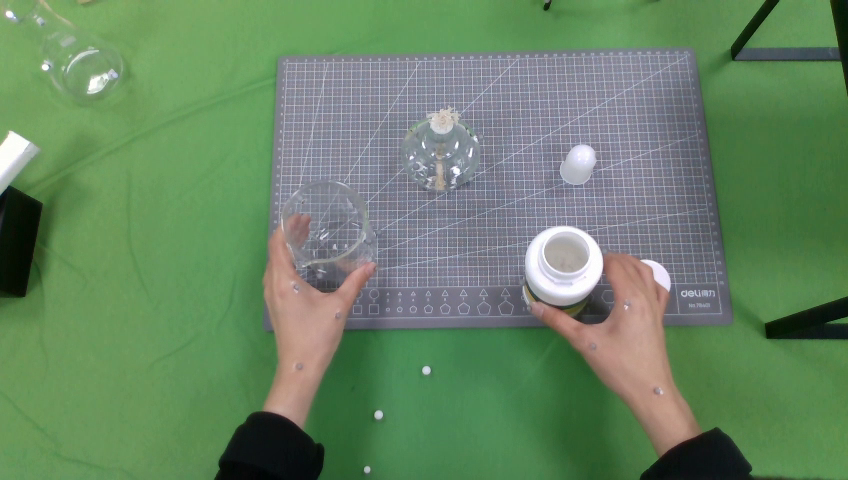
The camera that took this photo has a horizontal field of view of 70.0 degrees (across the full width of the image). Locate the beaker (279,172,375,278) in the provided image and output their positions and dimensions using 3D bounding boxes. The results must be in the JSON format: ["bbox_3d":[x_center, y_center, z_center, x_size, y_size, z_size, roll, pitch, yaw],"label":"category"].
[{"bbox_3d":[-0.085,-0.005,0.556,0.074,0.101,0.084,26,77,9],"label":"beaker"}]

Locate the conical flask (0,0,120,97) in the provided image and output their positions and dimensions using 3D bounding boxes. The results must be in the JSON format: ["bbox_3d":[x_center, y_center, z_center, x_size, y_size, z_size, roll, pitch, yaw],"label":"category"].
[{"bbox_3d":[-0.369,-0.203,0.606,0.075,0.122,0.075,0,74,2],"label":"conical flask"}]

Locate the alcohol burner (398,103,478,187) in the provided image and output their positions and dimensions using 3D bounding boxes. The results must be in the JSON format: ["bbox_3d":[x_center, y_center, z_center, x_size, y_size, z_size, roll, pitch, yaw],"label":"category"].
[{"bbox_3d":[0.014,-0.095,0.570,0.078,0.119,0.077,0,74,0],"label":"alcohol burner"}]

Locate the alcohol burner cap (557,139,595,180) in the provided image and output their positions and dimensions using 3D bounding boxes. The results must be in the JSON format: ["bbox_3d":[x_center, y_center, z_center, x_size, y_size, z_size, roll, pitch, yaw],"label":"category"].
[{"bbox_3d":[0.152,-0.083,0.601,0.034,0.048,0.033,0,75,1],"label":"alcohol burner cap"}]

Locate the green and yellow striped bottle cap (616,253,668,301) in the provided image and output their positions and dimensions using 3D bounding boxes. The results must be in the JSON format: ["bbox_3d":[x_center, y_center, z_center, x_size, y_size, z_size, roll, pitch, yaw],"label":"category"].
[{"bbox_3d":[0.210,0.035,0.582,0.045,0.020,0.045,0,77,0],"label":"green and yellow striped bottle cap"}]

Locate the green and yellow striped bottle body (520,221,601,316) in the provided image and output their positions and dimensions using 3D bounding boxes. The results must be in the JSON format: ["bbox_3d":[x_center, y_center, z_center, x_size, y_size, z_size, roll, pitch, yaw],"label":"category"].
[{"bbox_3d":[0.116,0.025,0.526,0.063,0.120,0.063,-2,72,6],"label":"green and yellow striped bottle body"}]

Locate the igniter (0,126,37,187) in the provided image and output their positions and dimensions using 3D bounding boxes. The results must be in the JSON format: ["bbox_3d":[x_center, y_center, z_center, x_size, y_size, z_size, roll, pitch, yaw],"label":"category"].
[{"bbox_3d":[-0.458,0.012,0.551,0.057,0.025,0.276,28,77,18],"label":"igniter"}]
